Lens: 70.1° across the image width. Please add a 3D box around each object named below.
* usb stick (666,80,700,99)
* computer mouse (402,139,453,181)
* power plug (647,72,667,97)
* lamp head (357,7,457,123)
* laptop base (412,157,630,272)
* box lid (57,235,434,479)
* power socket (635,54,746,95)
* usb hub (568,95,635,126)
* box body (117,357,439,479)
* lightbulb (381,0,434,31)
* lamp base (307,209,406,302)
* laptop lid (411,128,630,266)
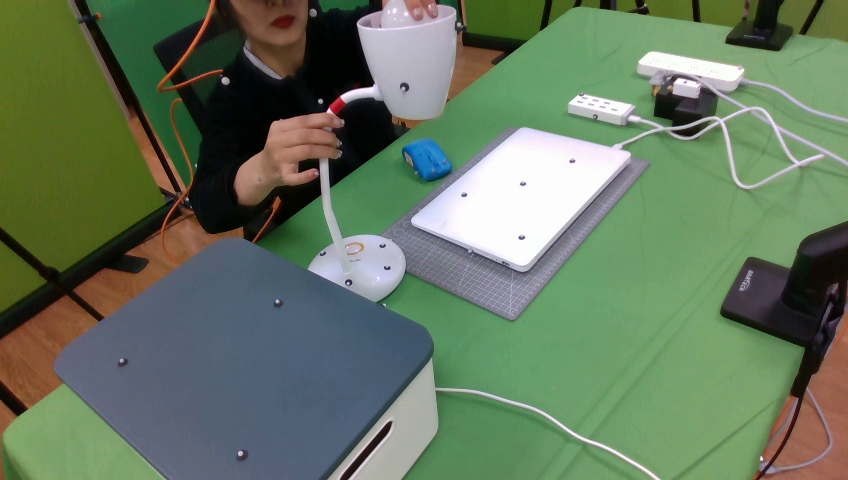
[{"bbox_3d":[0.492,-0.288,1.152,0.058,0.027,0.021,20,50,34],"label":"usb stick"},{"bbox_3d":[0.005,-0.159,1.165,0.063,0.041,0.116,-21,45,-17],"label":"computer mouse"},{"bbox_3d":[0.493,-0.321,1.261,0.073,0.052,0.035,1,20,-41],"label":"power plug"},{"bbox_3d":[-0.017,-0.199,0.702,0.112,0.123,0.112,-1,32,1],"label":"lamp head"},{"bbox_3d":[0.176,-0.083,1.056,0.233,0.023,0.355,21,48,36],"label":"laptop base"},{"bbox_3d":[-0.198,0.123,0.653,0.368,0.015,0.264,22,49,32],"label":"box lid"},{"bbox_3d":[0.564,-0.357,1.293,0.225,0.033,0.072,24,51,33],"label":"power socket"},{"bbox_3d":[0.360,-0.263,1.228,0.124,0.025,0.049,24,49,34],"label":"usb hub"},{"bbox_3d":[-0.189,0.179,0.702,0.361,0.161,0.255,22,49,32],"label":"box body"},{"bbox_3d":[-0.015,-0.222,0.693,0.059,0.108,0.059,-8,25,4],"label":"lightbulb"},{"bbox_3d":[-0.116,-0.003,0.889,0.161,0.181,0.178,-15,43,-5],"label":"lamp base"},{"bbox_3d":[0.172,-0.093,1.049,0.239,0.013,0.358,24,50,36],"label":"laptop lid"}]
